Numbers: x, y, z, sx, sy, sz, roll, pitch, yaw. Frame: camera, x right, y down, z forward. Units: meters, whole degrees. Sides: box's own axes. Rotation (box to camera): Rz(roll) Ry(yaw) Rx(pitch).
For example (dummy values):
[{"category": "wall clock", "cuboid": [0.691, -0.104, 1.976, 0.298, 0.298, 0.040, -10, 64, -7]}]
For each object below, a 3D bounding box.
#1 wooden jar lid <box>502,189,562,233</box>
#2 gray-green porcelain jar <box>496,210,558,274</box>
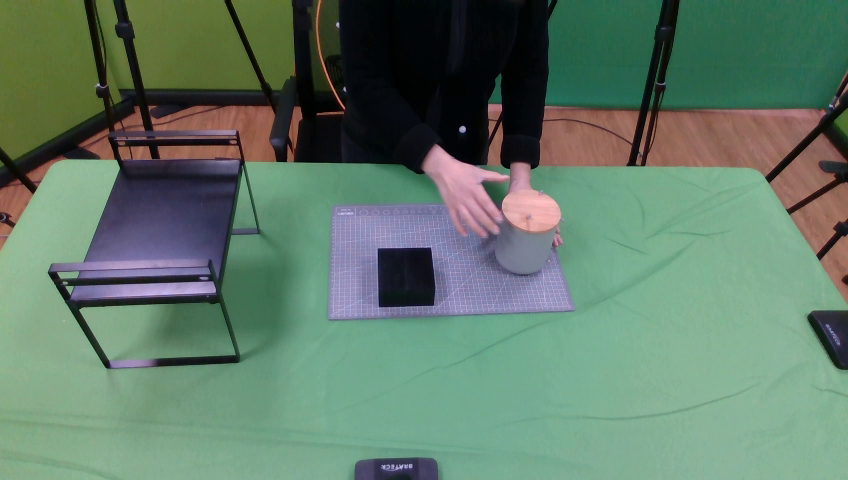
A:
[{"category": "wooden jar lid", "cuboid": [0.194, -0.050, 1.095, 0.108, 0.021, 0.107, 4, 48, -4]}, {"category": "gray-green porcelain jar", "cuboid": [0.192, -0.008, 1.141, 0.106, 0.127, 0.105, 1, 47, -1]}]
